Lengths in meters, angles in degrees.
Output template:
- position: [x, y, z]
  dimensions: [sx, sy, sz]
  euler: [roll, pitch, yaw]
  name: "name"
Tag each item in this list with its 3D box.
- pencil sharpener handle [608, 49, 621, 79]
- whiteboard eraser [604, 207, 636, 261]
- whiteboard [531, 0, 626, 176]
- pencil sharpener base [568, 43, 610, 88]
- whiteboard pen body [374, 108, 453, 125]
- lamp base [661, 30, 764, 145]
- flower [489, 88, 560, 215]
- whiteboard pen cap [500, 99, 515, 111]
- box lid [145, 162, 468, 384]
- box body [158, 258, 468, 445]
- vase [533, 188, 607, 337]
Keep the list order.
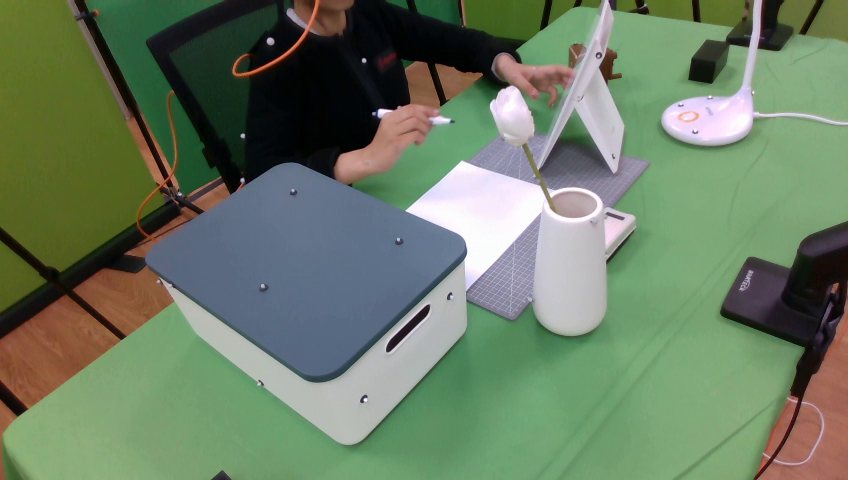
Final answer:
- position: [0.394, -0.368, 1.253]
  dimensions: [0.030, 0.068, 0.036]
  euler: [-8, 32, 1]
  name: "pencil sharpener handle"
- position: [0.272, -0.003, 0.919]
  dimensions: [0.055, 0.042, 0.113]
  euler: [27, 51, 32]
  name: "whiteboard eraser"
- position: [0.320, -0.259, 1.050]
  dimensions: [0.144, 0.306, 0.217]
  euler: [22, 45, 6]
  name: "whiteboard"
- position: [0.345, -0.352, 1.263]
  dimensions: [0.077, 0.107, 0.061]
  euler: [-8, 40, 1]
  name: "pencil sharpener base"
- position: [-0.018, -0.207, 1.018]
  dimensions: [0.140, 0.017, 0.017]
  euler: [11, 44, 14]
  name: "whiteboard pen body"
- position: [0.535, -0.287, 1.096]
  dimensions: [0.179, 0.181, 0.159]
  euler: [-10, 40, -4]
  name: "lamp base"
- position: [0.158, -0.027, 0.720]
  dimensions: [0.038, 0.364, 0.044]
  euler: [-14, 44, 23]
  name: "flower"
- position: [0.177, -0.287, 1.290]
  dimensions: [0.033, 0.018, 0.018]
  euler: [-37, 48, -27]
  name: "whiteboard pen cap"
- position: [-0.157, 0.014, 0.769]
  dimensions: [0.368, 0.015, 0.264]
  euler: [25, 51, 33]
  name: "box lid"
- position: [-0.147, 0.072, 0.816]
  dimensions: [0.361, 0.161, 0.255]
  euler: [24, 50, 33]
  name: "box body"
- position: [0.187, 0.033, 0.771]
  dimensions: [0.098, 0.201, 0.097]
  euler: [-6, 41, 6]
  name: "vase"
